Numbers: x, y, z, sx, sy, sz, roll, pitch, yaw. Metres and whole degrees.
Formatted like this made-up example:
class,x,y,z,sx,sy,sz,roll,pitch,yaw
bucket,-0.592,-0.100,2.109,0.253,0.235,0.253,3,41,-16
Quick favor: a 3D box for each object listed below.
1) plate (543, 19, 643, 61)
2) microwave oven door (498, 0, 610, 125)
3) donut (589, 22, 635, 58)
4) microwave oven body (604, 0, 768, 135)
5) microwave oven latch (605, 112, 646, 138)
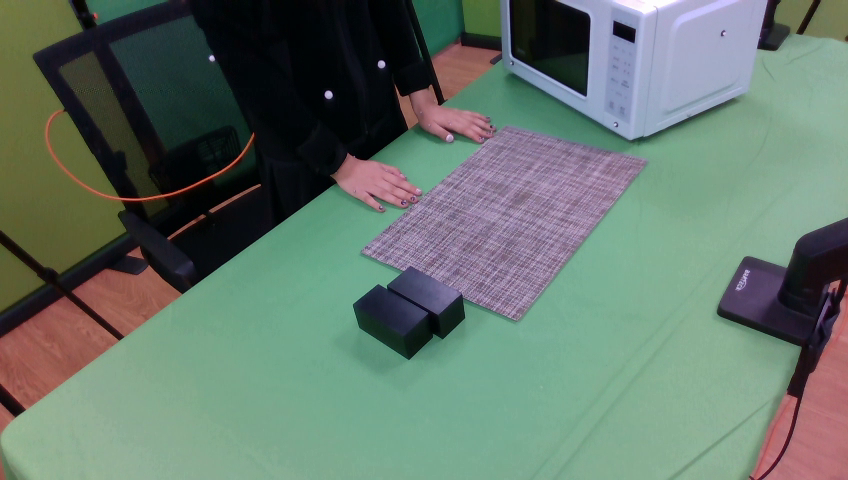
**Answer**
class,x,y,z,sx,sy,sz,roll,pitch,yaw
plate,0.359,-0.426,1.293,0.209,0.038,0.208,0,35,1
microwave oven door,0.261,-0.410,1.219,0.039,0.245,0.352,-24,42,-17
donut,0.402,-0.429,1.294,0.099,0.048,0.098,3,51,-3
microwave oven body,0.411,-0.441,1.235,0.327,0.261,0.437,-25,42,-16
microwave oven latch,0.375,-0.217,1.130,0.030,0.029,0.078,-25,42,-16
